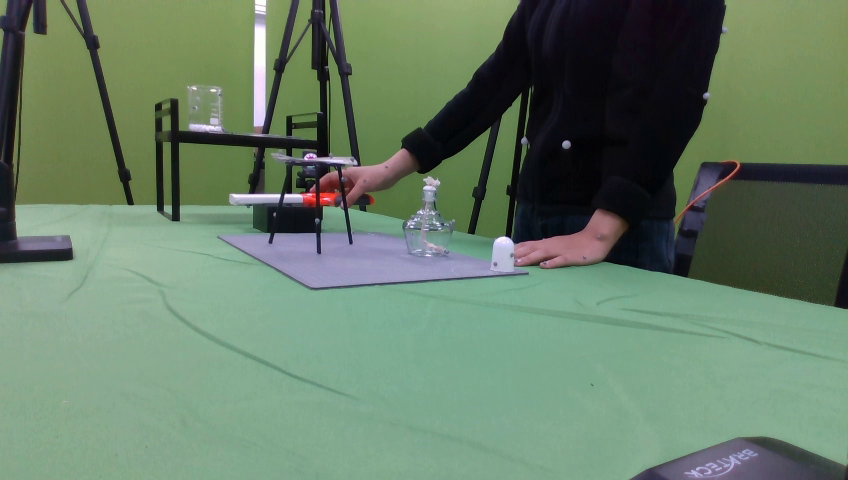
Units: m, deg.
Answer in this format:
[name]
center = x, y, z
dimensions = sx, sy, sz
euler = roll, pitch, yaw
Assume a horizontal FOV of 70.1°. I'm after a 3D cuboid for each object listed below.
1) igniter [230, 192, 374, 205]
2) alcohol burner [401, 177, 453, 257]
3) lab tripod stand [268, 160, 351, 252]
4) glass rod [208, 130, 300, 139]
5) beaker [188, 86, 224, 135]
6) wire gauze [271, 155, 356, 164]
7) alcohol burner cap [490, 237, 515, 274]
[igniter]
center = -0.228, -0.079, 1.163
dimensions = 0.278, 0.025, 0.057
euler = -2, 14, -30
[alcohol burner]
center = 0.006, -0.035, 0.903
dimensions = 0.078, 0.119, 0.078
euler = 4, 6, 0
[lab tripod stand]
center = -0.171, -0.055, 0.922
dimensions = 0.148, 0.131, 0.148
euler = 1, 9, 0
[glass rod]
center = -0.367, -0.231, 1.321
dimensions = 0.201, 0.008, 0.008
euler = -1, 8, -30
[beaker]
center = -0.474, -0.280, 1.311
dimensions = 0.074, 0.100, 0.084
euler = 5, 8, 26
[wire gauze]
center = -0.167, -0.122, 0.917
dimensions = 0.125, 0.011, 0.121
euler = 0, 7, -9
[alcohol burner cap]
center = 0.104, 0.020, 0.793
dimensions = 0.034, 0.048, 0.034
euler = 2, 6, 0
